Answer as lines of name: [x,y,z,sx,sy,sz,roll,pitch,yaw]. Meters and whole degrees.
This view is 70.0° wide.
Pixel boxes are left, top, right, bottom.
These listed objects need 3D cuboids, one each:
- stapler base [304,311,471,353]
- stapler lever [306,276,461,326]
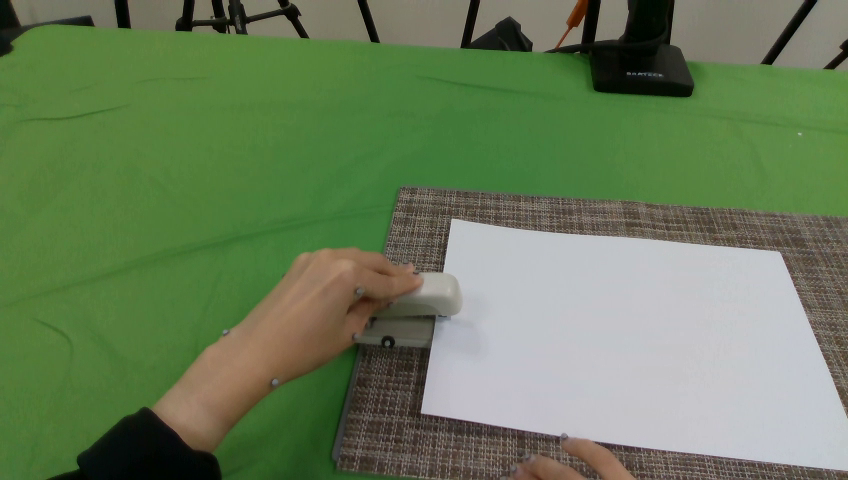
stapler base: [-0.029,0.063,0.477,0.130,0.024,0.041,2,41,5]
stapler lever: [-0.031,0.045,0.461,0.118,0.040,0.026,3,41,4]
